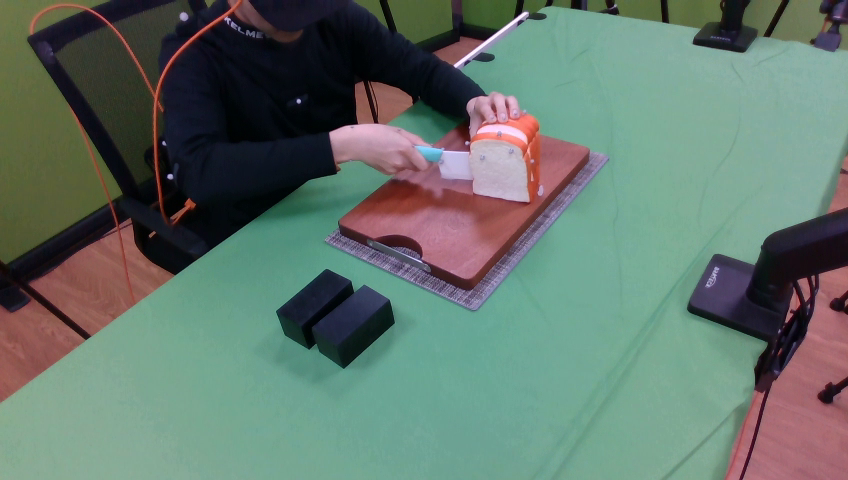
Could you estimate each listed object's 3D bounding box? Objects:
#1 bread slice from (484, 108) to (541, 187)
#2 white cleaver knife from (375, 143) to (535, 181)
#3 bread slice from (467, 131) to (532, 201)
[{"bbox_3d":[0.146,-0.153,1.002,0.106,0.135,0.018,18,46,23],"label":"bread slice"},{"bbox_3d":[0.043,-0.127,1.010,0.284,0.066,0.021,9,47,25],"label":"white cleaver knife"},{"bbox_3d":[0.117,-0.117,0.963,0.104,0.132,0.019,9,50,21],"label":"bread slice"}]
